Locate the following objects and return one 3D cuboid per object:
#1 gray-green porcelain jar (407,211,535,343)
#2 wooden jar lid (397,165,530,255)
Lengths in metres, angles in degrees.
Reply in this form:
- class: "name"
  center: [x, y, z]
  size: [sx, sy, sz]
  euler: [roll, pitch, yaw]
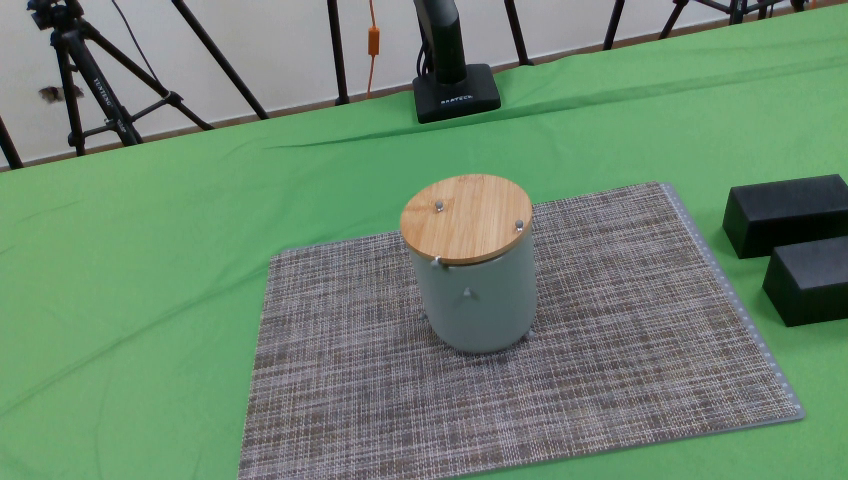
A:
- class: "gray-green porcelain jar"
  center: [0.045, 0.022, 0.540]
  size: [0.106, 0.128, 0.105]
  euler: [-7, 44, 7]
- class: "wooden jar lid"
  center: [0.033, -0.023, 0.495]
  size: [0.108, 0.021, 0.107]
  euler: [-6, 43, 6]
